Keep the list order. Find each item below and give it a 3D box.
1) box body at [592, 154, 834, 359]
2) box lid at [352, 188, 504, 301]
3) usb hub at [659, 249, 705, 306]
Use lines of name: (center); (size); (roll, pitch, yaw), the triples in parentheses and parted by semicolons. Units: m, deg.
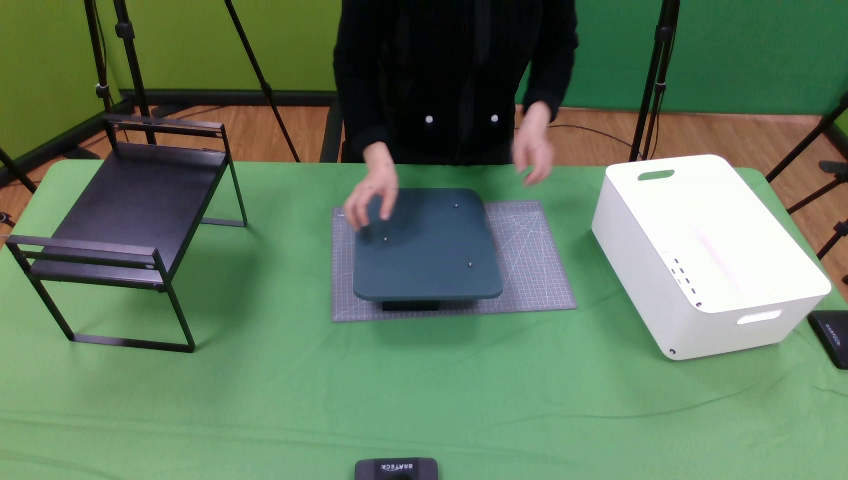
box body: (0.496, 0.023, 1.112); (0.254, 0.161, 0.361); (-8, 47, -10)
box lid: (-0.002, -0.006, 1.162); (0.263, 0.015, 0.369); (0, 34, -5)
usb hub: (0.481, 0.071, 1.151); (0.049, 0.025, 0.124); (-4, 46, -7)
